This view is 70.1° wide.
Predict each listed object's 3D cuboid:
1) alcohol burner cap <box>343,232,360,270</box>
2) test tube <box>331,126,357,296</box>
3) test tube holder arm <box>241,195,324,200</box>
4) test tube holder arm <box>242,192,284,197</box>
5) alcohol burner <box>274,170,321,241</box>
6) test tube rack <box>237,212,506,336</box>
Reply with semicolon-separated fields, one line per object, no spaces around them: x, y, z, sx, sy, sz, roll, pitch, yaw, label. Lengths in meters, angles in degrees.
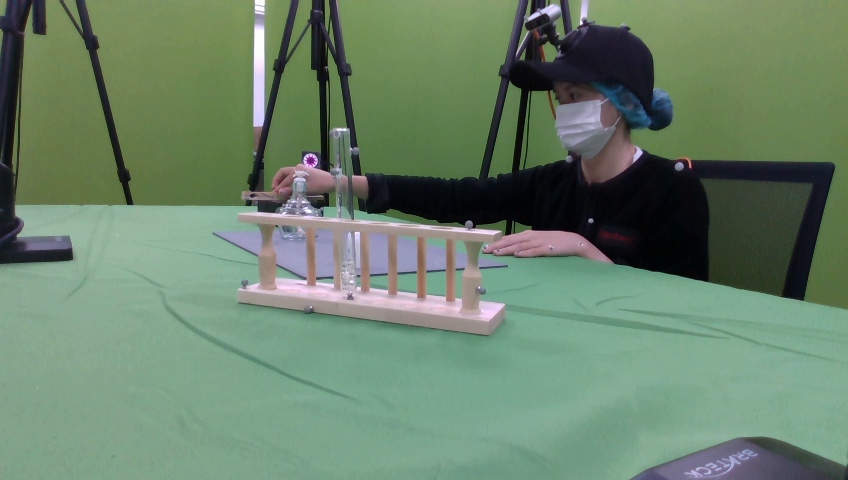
-0.087;0.013;0.776;0.034;0.048;0.034;3;7;0;alcohol burner cap
-0.070;-0.024;0.534;0.017;0.150;0.017;-2;8;1;test tube
-0.290;-0.089;1.253;0.179;0.013;0.015;-3;9;-39;test tube holder arm
-0.325;-0.092;1.224;0.088;0.010;0.015;-3;9;-39;test tube holder arm
-0.212;-0.058;1.015;0.078;0.119;0.078;4;5;0;alcohol burner
-0.049;0.024;0.552;0.242;0.085;0.067;5;8;19;test tube rack
